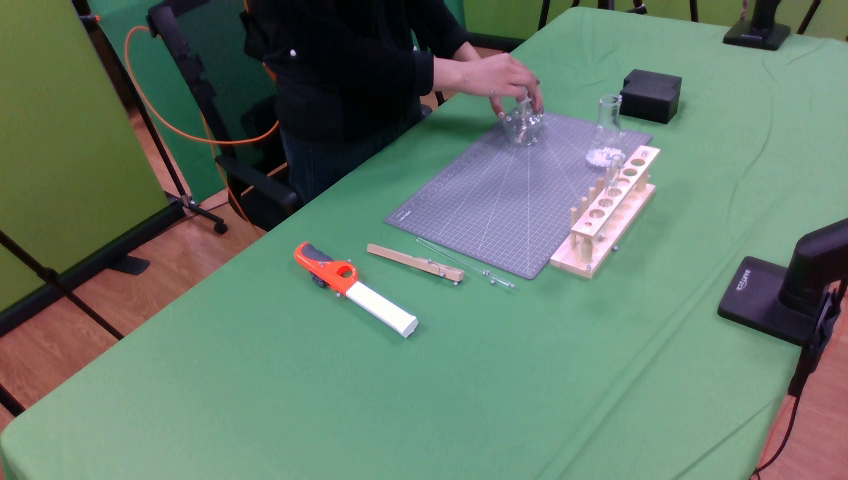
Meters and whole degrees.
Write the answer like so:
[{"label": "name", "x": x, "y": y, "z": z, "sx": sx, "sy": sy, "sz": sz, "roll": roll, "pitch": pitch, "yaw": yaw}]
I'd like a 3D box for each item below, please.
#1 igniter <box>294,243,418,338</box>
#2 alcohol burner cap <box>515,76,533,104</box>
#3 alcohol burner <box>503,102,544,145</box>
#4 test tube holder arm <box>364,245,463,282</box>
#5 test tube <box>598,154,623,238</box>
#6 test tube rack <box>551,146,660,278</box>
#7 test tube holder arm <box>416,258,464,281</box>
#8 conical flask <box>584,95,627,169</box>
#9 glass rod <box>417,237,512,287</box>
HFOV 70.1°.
[{"label": "igniter", "x": -0.114, "y": 0.070, "z": 0.919, "sx": 0.274, "sy": 0.025, "sz": 0.057, "roll": 29, "pitch": 63, "yaw": 37}, {"label": "alcohol burner cap", "x": 0.188, "y": -0.282, "z": 1.126, "sx": 0.034, "sy": 0.048, "sz": 0.033, "roll": -2, "pitch": 43, "yaw": 2}, {"label": "alcohol burner", "x": 0.191, "y": -0.243, "z": 1.160, "sx": 0.078, "sy": 0.119, "sz": 0.077, "roll": -4, "pitch": 40, "yaw": 4}, {"label": "test tube holder arm", "x": -0.020, "y": 0.035, "z": 0.947, "sx": 0.177, "sy": 0.015, "sz": 0.013, "roll": 16, "pitch": 10, "yaw": 26}, {"label": "test tube", "x": 0.269, "y": -0.059, "z": 0.876, "sx": 0.017, "sy": 0.151, "sz": 0.017, "roll": -2, "pitch": 43, "yaw": 3}, {"label": "test tube rack", "x": 0.286, "y": -0.053, "z": 0.943, "sx": 0.066, "sy": 0.085, "sz": 0.243, "roll": 21, "pitch": 49, "yaw": 32}, {"label": "test tube holder arm", "x": 0.022, "y": 0.045, "z": 0.931, "sx": 0.087, "sy": 0.015, "sz": 0.010, "roll": 16, "pitch": 10, "yaw": 28}, {"label": "conical flask", "x": 0.324, "y": -0.192, "z": 1.066, "sx": 0.075, "sy": 0.122, "sz": 0.075, "roll": -6, "pitch": 40, "yaw": 5}, {"label": "glass rod", "x": 0.059, "y": 0.033, "z": 0.945, "sx": 0.198, "sy": 0.008, "sz": 0.008, "roll": 26, "pitch": 52, "yaw": 38}]
